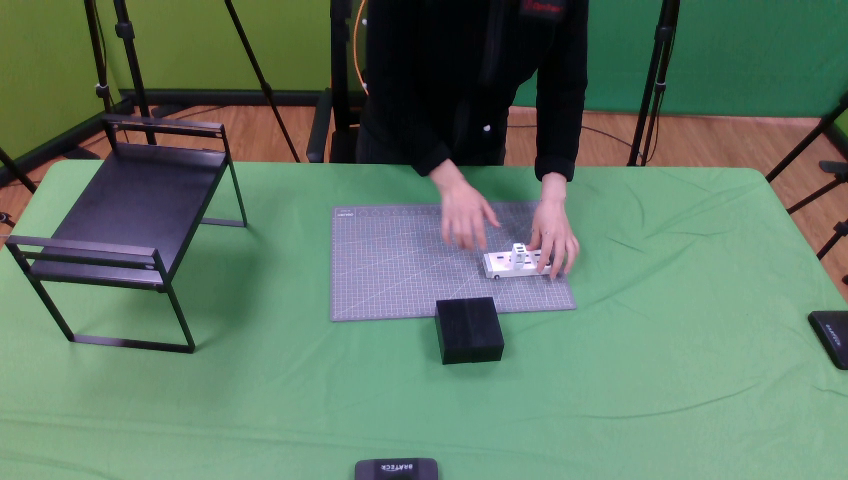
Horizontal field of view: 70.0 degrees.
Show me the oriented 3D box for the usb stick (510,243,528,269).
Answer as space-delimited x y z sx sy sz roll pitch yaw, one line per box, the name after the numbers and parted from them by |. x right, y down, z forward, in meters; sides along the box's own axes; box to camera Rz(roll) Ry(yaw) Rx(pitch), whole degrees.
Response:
0.175 0.034 1.125 0.021 0.059 0.027 -5 50 -9 | usb stick

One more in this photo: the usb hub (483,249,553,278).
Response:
0.179 0.045 1.159 0.125 0.025 0.049 -4 47 -6 | usb hub
